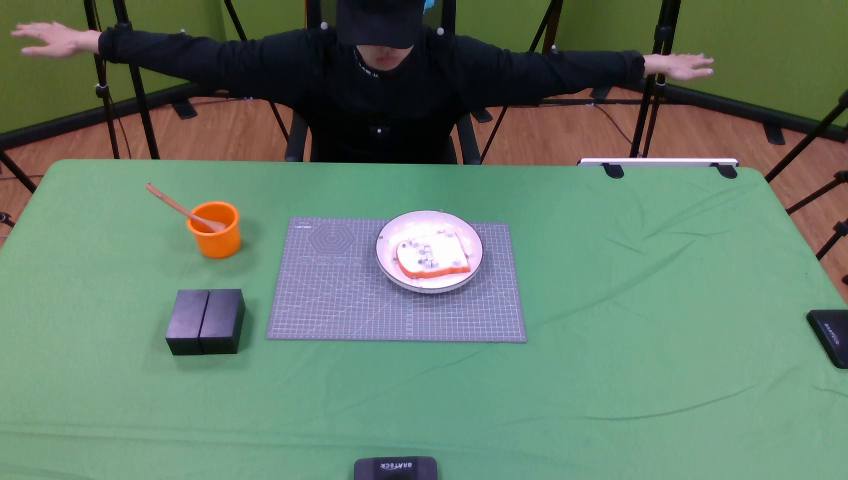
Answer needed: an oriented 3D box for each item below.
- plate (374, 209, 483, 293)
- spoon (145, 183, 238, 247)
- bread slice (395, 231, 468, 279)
[{"bbox_3d":[0.009,0.024,1.160,0.209,0.038,0.208,2,46,-2],"label":"plate"},{"bbox_3d":[-0.424,-0.045,1.114,0.195,0.021,0.041,34,40,-28],"label":"spoon"},{"bbox_3d":[0.011,0.030,1.159,0.132,0.019,0.104,-8,47,-14],"label":"bread slice"}]
